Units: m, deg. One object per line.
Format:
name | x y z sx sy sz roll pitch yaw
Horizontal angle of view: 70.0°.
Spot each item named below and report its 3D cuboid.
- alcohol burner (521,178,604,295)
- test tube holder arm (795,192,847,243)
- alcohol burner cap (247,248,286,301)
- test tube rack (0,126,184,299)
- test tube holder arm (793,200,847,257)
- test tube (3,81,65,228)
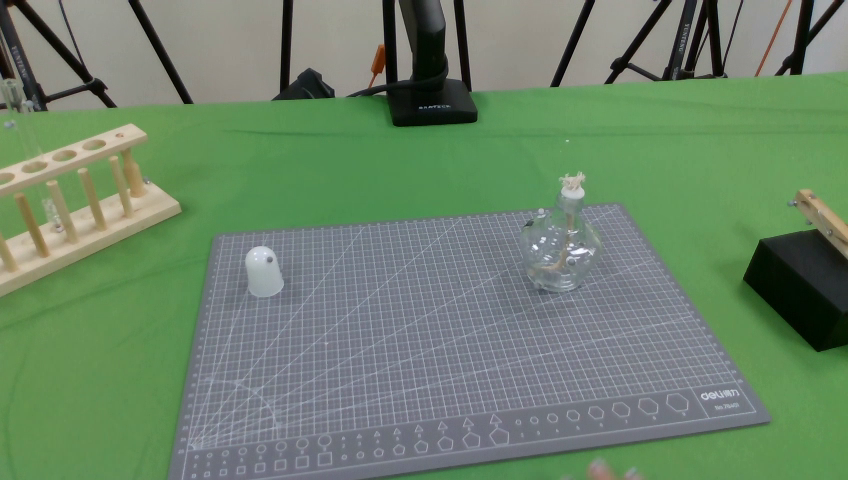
alcohol burner | 0.130 -0.008 0.559 0.078 0.120 0.077 2 41 -1
test tube holder arm | 0.385 -0.019 0.575 0.015 0.010 0.087 -1 38 -6
alcohol burner cap | -0.147 0.029 0.562 0.034 0.048 0.033 1 39 0
test tube rack | -0.369 -0.022 0.587 0.066 0.086 0.242 30 47 32
test tube holder arm | 0.389 0.013 0.543 0.015 0.013 0.176 -1 37 -6
test tube | -0.368 -0.076 0.576 0.017 0.151 0.017 2 33 -1
